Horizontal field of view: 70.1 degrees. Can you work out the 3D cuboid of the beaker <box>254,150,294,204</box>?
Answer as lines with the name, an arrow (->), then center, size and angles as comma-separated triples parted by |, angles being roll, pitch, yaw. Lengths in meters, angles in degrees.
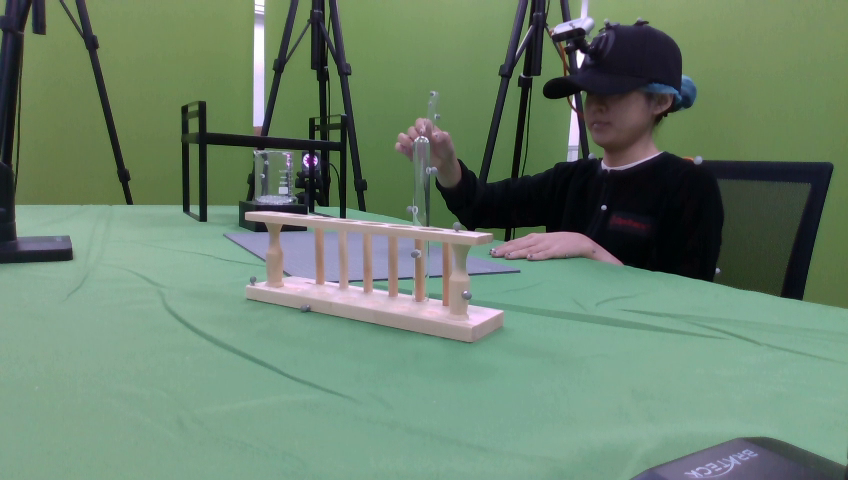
beaker -> -0.289, -0.120, 1.151 | 0.073, 0.100, 0.084 | 8, 9, 33

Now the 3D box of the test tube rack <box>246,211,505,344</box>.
test tube rack -> -0.049, 0.025, 0.547 | 0.241, 0.085, 0.067 | 7, 8, 29

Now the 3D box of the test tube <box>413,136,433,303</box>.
test tube -> -0.001, -0.016, 0.538 | 0.017, 0.150, 0.017 | 1, 8, 0

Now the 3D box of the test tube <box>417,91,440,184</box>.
test tube -> 0.007, -0.166, 0.980 | 0.017, 0.150, 0.017 | 9, 8, -1
